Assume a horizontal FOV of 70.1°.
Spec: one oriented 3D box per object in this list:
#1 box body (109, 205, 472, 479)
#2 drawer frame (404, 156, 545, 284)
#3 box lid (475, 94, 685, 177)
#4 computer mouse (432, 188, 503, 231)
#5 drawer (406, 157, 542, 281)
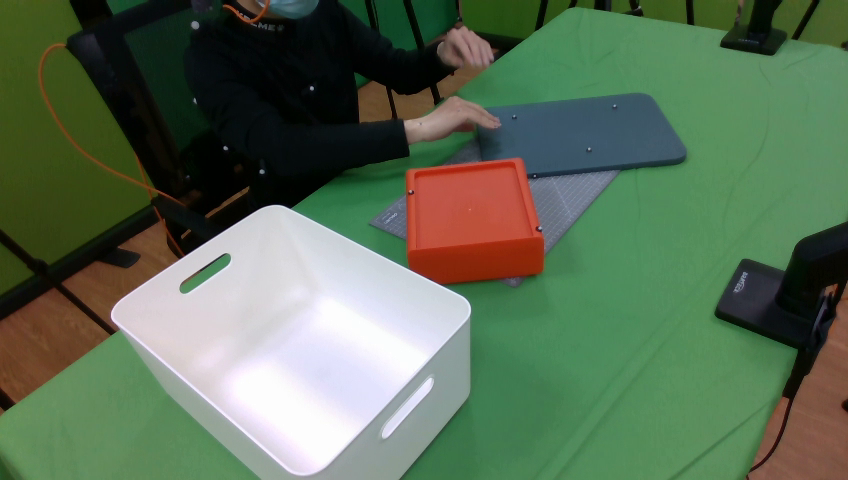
[{"bbox_3d":[-0.147,0.135,0.726,0.361,0.161,0.255,25,50,32],"label":"box body"},{"bbox_3d":[0.073,-0.036,0.953,0.202,0.083,0.212,-6,41,1],"label":"drawer frame"},{"bbox_3d":[0.288,-0.207,1.181,0.371,0.015,0.262,-5,40,2],"label":"box lid"},{"bbox_3d":[0.071,-0.051,0.994,0.117,0.041,0.062,-10,44,6],"label":"computer mouse"},{"bbox_3d":[0.072,-0.037,0.957,0.194,0.073,0.210,-5,41,1],"label":"drawer"}]
